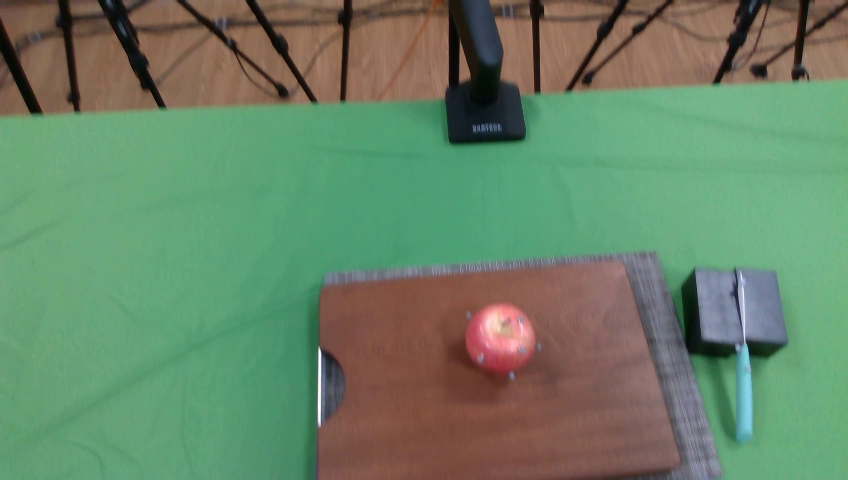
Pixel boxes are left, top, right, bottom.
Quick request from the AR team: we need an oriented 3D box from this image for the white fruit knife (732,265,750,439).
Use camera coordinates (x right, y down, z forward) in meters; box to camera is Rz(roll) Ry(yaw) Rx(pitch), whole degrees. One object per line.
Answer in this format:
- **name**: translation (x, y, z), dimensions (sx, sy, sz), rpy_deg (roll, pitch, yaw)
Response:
- **white fruit knife**: translation (0.375, 0.131, 0.723), dimensions (0.016, 0.027, 0.206), rpy_deg (5, 75, 2)

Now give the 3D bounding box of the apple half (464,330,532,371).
- **apple half**: translation (0.083, 0.134, 0.692), dimensions (0.081, 0.082, 0.032), rpy_deg (7, 56, 5)

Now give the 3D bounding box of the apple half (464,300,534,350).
- **apple half**: translation (0.089, 0.101, 0.712), dimensions (0.080, 0.075, 0.053), rpy_deg (5, 56, 8)
